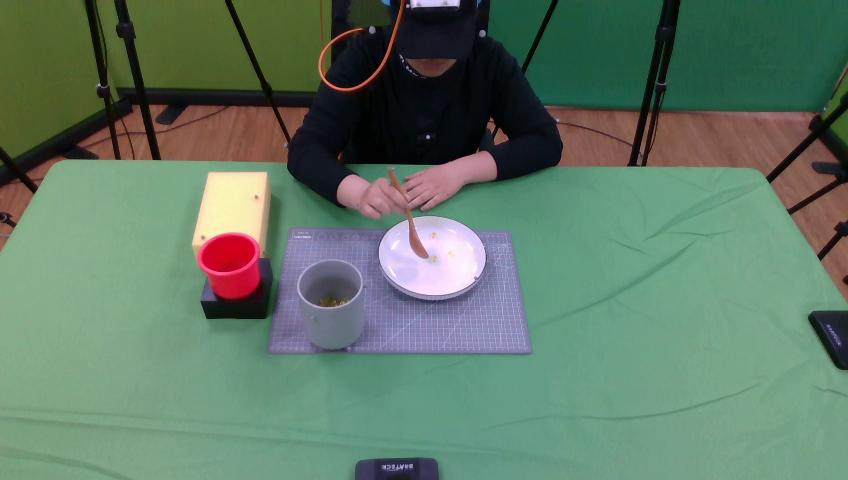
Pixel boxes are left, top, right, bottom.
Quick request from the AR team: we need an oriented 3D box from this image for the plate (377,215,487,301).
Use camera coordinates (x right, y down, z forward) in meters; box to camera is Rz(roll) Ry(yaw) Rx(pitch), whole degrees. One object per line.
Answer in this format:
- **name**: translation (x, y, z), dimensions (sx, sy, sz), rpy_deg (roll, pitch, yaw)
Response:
- **plate**: translation (0.015, 0.037, 1.147), dimensions (0.208, 0.039, 0.206), rpy_deg (2, 46, -2)

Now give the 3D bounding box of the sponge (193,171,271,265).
- **sponge**: translation (-0.371, -0.047, 1.189), dimensions (0.118, 0.061, 0.205), rpy_deg (-3, 47, -6)

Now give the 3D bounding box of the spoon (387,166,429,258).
- **spoon**: translation (-0.030, -0.047, 1.088), dimensions (0.021, 0.194, 0.041), rpy_deg (-32, 27, -28)

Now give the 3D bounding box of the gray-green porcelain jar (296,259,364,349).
- **gray-green porcelain jar**: translation (-0.152, 0.111, 1.003), dimensions (0.106, 0.127, 0.105), rpy_deg (2, 46, -2)
